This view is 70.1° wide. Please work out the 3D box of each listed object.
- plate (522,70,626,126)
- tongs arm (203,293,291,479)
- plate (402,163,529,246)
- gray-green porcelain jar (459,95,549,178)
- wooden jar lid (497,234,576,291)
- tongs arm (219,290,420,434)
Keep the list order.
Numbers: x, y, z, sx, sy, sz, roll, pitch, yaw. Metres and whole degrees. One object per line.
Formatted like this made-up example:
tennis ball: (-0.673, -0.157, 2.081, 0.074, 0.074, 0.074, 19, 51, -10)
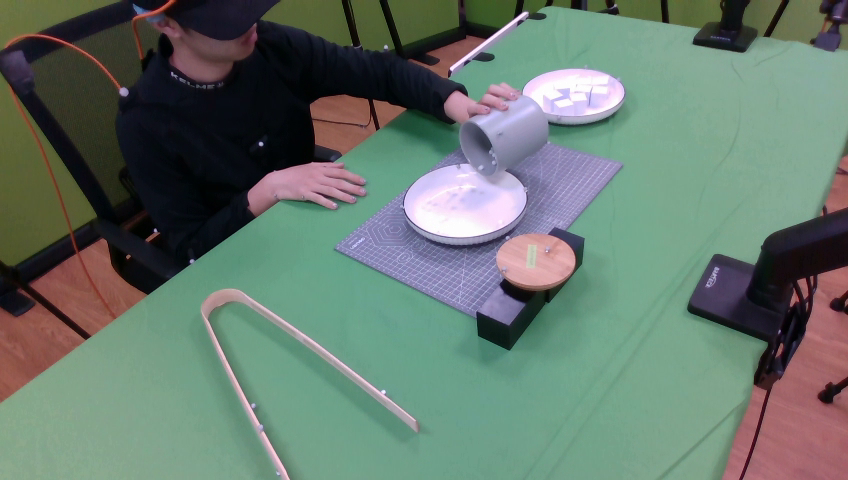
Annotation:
plate: (0.308, -0.289, 1.251, 0.207, 0.039, 0.206, -4, 40, 4)
tongs arm: (-0.216, 0.187, 0.772, 0.051, 0.026, 0.381, -27, 43, -24)
plate: (0.069, -0.056, 1.008, 0.209, 0.038, 0.208, -4, 40, 4)
gray-green porcelain jar: (0.140, -0.180, 1.032, 0.127, 0.106, 0.105, -31, 46, -21)
wooden jar lid: (0.155, 0.032, 0.834, 0.108, 0.021, 0.108, -5, 40, 4)
tongs arm: (-0.152, 0.152, 0.812, 0.384, 0.028, 0.028, 26, 52, 33)
